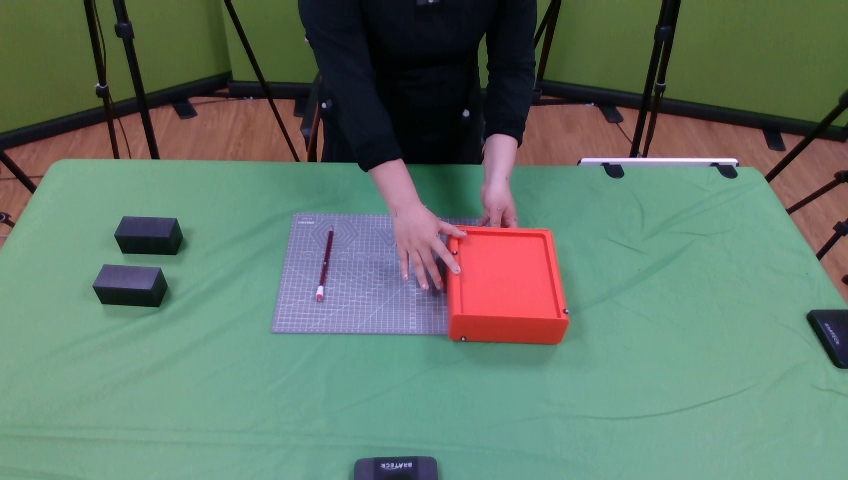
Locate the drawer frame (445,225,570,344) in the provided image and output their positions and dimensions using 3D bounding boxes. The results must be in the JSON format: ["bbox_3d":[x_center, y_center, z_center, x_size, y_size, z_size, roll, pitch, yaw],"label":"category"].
[{"bbox_3d":[0.142,0.077,1.090,0.202,0.083,0.212,3,46,-3],"label":"drawer frame"}]

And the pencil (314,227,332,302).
[{"bbox_3d":[-0.189,0.041,1.148,0.012,0.012,0.193,3,44,-1],"label":"pencil"}]

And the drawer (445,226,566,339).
[{"bbox_3d":[0.139,0.073,1.093,0.194,0.073,0.210,3,47,-3],"label":"drawer"}]
